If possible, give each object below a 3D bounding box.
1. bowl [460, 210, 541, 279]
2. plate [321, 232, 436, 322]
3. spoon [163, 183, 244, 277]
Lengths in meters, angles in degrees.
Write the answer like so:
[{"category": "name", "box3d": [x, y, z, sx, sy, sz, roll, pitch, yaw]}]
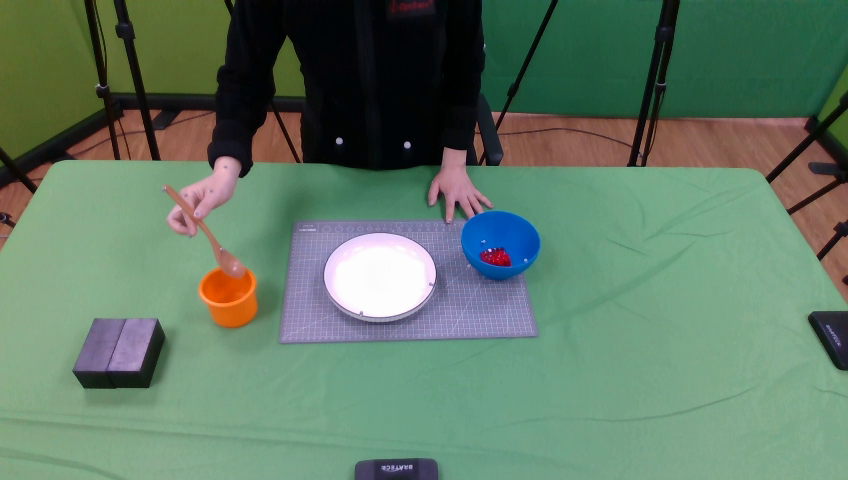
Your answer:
[{"category": "bowl", "box3d": [0.140, 0.021, 1.145, 0.151, 0.077, 0.150, 2, 46, -2]}, {"category": "plate", "box3d": [-0.083, 0.070, 1.109, 0.209, 0.038, 0.208, 3, 46, -3]}, {"category": "spoon", "box3d": [-0.352, -0.014, 0.973, 0.021, 0.195, 0.041, -15, 33, 21]}]
